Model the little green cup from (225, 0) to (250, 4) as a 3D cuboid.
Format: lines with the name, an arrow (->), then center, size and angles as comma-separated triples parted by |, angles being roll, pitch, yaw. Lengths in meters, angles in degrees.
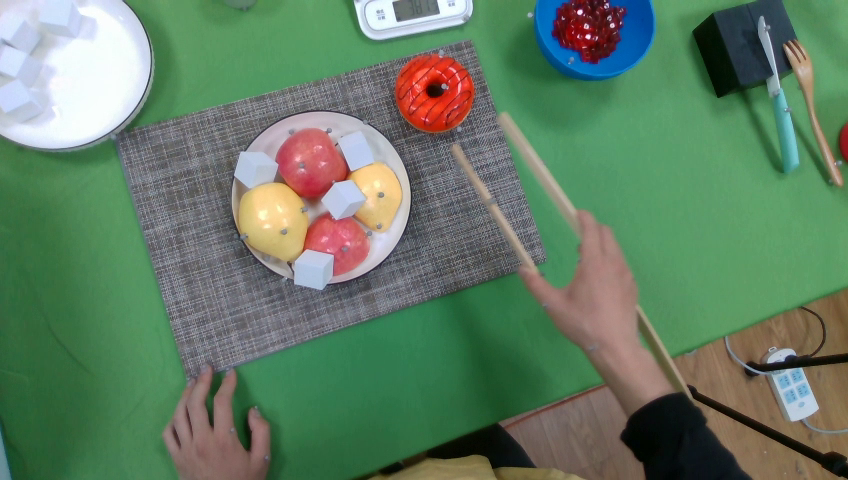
little green cup -> -0.231, -0.320, 0.737 | 0.061, 0.038, 0.061 | 1, 83, -6

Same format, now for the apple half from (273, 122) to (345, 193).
apple half -> -0.135, -0.097, 0.701 | 0.074, 0.053, 0.081 | -30, 91, -6

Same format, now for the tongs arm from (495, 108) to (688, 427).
tongs arm -> 0.179, 0.026, 0.650 | 0.028, 0.028, 0.387 | -31, 89, -14

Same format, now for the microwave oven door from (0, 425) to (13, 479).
microwave oven door -> -0.472, 0.131, 0.534 | 0.039, 0.244, 0.355 | -16, 85, -8

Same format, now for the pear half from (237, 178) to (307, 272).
pear half -> -0.165, -0.016, 0.684 | 0.076, 0.056, 0.110 | -25, 91, -17

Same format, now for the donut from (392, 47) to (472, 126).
donut -> 0.009, -0.188, 0.743 | 0.099, 0.048, 0.099 | 0, 85, -4

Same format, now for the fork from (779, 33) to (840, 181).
fork -> 0.510, -0.172, 0.795 | 0.028, 0.018, 0.208 | -28, 103, -11

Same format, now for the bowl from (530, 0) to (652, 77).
bowl -> 0.198, -0.269, 0.762 | 0.151, 0.077, 0.151 | 1, 84, -7

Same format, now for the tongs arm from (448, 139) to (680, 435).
tongs arm -> 0.147, 0.047, 0.644 | 0.051, 0.026, 0.384 | -31, 89, -11

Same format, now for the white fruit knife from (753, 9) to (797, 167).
white fruit knife -> 0.452, -0.194, 0.783 | 0.016, 0.027, 0.208 | -20, 101, -9

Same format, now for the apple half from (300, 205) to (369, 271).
apple half -> -0.106, -0.003, 0.702 | 0.081, 0.033, 0.081 | 1, 78, -6

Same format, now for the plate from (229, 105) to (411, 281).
plate -> -0.120, -0.054, 0.716 | 0.209, 0.038, 0.208 | 1, 83, -7

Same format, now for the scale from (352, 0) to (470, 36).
scale -> -0.031, -0.368, 0.769 | 0.149, 0.031, 0.200 | -14, 86, -8

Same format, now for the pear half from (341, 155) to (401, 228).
pear half -> -0.064, -0.059, 0.716 | 0.070, 0.031, 0.087 | -16, 82, 5

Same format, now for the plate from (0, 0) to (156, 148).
plate -> -0.417, -0.205, 0.702 | 0.208, 0.039, 0.207 | 1, 83, -7
